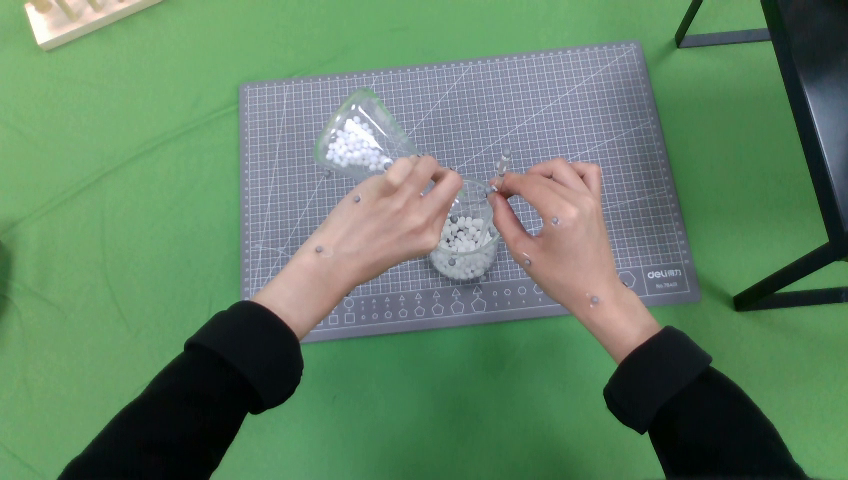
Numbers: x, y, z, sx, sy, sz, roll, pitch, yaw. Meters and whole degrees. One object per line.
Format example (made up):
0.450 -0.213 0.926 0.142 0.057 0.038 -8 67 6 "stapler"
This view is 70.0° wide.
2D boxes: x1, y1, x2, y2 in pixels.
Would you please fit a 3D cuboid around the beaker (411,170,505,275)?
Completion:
0.031 -0.012 0.567 0.084 0.101 0.073 17 74 9 "beaker"

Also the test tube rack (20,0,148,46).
-0.356 -0.320 0.689 0.242 0.086 0.066 -26 73 -6 "test tube rack"

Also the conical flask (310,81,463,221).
-0.026 -0.066 0.499 0.122 0.075 0.075 37 77 -7 "conical flask"

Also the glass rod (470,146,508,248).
0.052 -0.029 0.511 0.008 0.201 0.008 1 70 -2 "glass rod"
